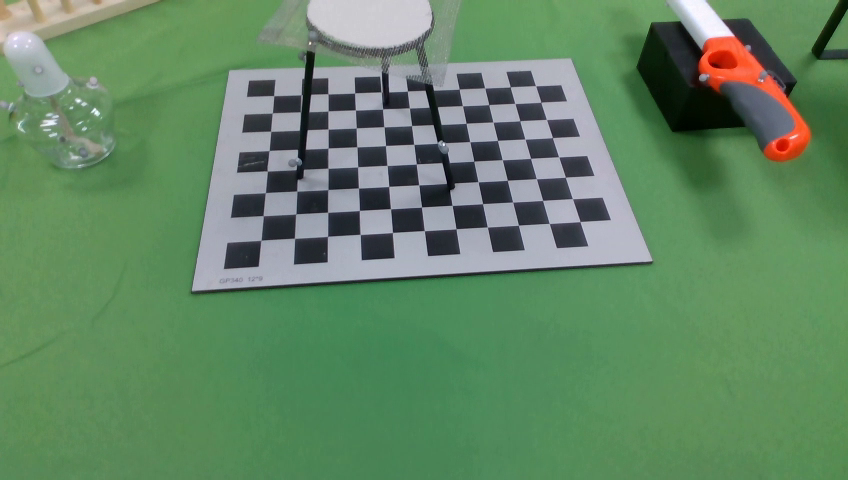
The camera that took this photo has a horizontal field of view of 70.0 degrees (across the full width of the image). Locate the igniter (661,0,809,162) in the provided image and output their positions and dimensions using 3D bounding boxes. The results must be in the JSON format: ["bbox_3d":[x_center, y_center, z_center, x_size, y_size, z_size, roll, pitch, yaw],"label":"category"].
[{"bbox_3d":[0.261,-0.165,0.536,0.057,0.025,0.273,-6,50,-2],"label":"igniter"}]

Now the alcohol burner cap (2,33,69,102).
[{"bbox_3d":[-0.295,-0.131,0.455,0.034,0.048,0.033,-1,52,1],"label":"alcohol burner cap"}]

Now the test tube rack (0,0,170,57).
[{"bbox_3d":[-0.347,-0.286,0.634,0.242,0.086,0.066,-32,60,-24],"label":"test tube rack"}]

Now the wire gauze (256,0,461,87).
[{"bbox_3d":[-0.037,-0.155,0.418,0.125,0.011,0.120,11,51,5],"label":"wire gauze"}]

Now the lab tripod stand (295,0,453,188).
[{"bbox_3d":[-0.036,-0.115,0.473,0.148,0.132,0.147,2,51,-2],"label":"lab tripod stand"}]

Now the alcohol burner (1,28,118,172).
[{"bbox_3d":[-0.294,-0.112,0.480,0.078,0.120,0.077,0,52,1],"label":"alcohol burner"}]
